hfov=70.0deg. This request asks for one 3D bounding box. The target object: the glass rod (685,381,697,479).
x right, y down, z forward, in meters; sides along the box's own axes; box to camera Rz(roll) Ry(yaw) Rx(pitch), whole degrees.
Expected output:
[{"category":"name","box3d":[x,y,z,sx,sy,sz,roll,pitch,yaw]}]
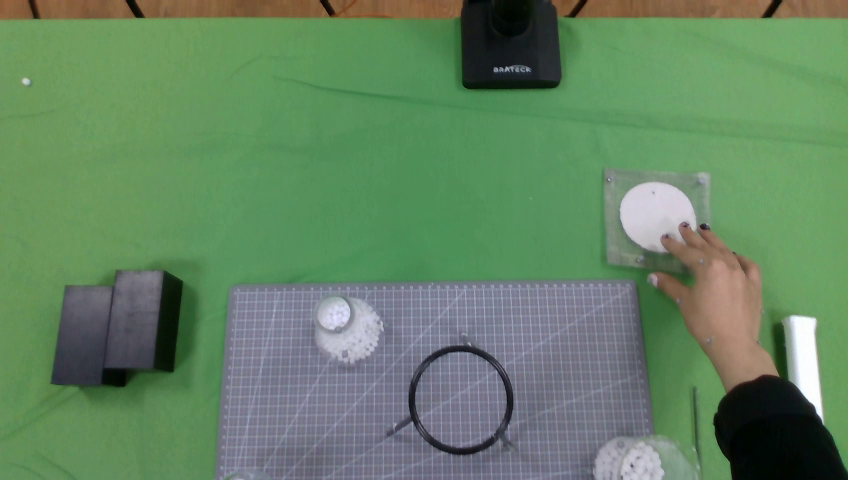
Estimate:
[{"category":"glass rod","box3d":[0.276,0.245,0.618,0.008,0.008,0.198,3,74,0]}]

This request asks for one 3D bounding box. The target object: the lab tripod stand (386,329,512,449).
[{"category":"lab tripod stand","box3d":[0.027,0.151,0.574,0.148,0.132,0.147,0,76,0]}]

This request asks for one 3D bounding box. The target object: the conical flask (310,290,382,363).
[{"category":"conical flask","box3d":[-0.084,0.079,0.599,0.075,0.122,0.075,0,74,0]}]

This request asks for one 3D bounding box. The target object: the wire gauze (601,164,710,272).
[{"category":"wire gauze","box3d":[0.265,-0.028,0.695,0.125,0.011,0.121,5,75,-1]}]

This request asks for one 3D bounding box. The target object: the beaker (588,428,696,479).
[{"category":"beaker","box3d":[0.204,0.215,0.576,0.084,0.101,0.073,-37,77,-10]}]

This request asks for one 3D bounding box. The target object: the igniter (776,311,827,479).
[{"category":"igniter","box3d":[0.388,0.211,0.618,0.057,0.025,0.275,7,74,-9]}]

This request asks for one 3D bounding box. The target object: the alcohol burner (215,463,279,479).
[{"category":"alcohol burner","box3d":[-0.169,0.247,0.556,0.078,0.120,0.077,-1,73,2]}]
